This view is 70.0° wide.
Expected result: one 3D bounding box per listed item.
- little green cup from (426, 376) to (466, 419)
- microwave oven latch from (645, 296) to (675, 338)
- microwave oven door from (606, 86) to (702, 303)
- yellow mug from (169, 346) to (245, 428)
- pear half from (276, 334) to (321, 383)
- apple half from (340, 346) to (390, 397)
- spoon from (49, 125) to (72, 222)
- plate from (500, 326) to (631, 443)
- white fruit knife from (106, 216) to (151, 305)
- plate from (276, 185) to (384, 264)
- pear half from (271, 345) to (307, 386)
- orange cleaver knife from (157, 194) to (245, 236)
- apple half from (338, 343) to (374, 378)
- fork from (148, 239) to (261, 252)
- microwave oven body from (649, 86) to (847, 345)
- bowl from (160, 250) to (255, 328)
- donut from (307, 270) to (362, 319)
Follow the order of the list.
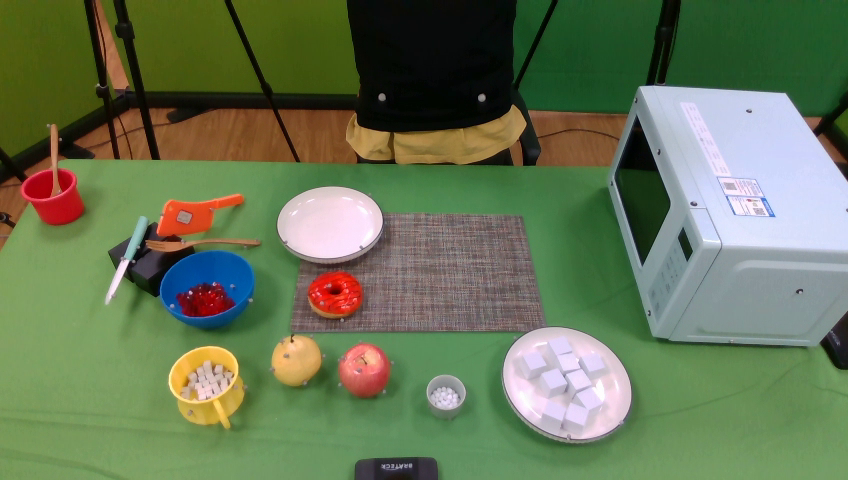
[{"bbox_3d":[0.033,0.248,0.950,0.061,0.039,0.061,2,46,-2],"label":"little green cup"},{"bbox_3d":[0.411,0.134,1.061,0.030,0.029,0.078,3,45,0],"label":"microwave oven latch"},{"bbox_3d":[0.423,-0.094,1.141,0.039,0.245,0.353,3,46,-1],"label":"microwave oven door"},{"bbox_3d":[-0.322,0.230,0.922,0.100,0.064,0.130,-24,53,-26],"label":"yellow mug"},{"bbox_3d":[-0.196,0.172,0.957,0.076,0.110,0.056,27,51,16],"label":"pear half"},{"bbox_3d":[-0.085,0.214,0.950,0.081,0.075,0.053,-29,58,-32],"label":"apple half"},{"bbox_3d":[-0.717,-0.131,1.189,0.041,0.021,0.193,-3,90,-6],"label":"spoon"},{"bbox_3d":[0.224,0.233,0.978,0.208,0.039,0.206,2,46,-2],"label":"plate"},{"bbox_3d":[-0.519,0.032,1.066,0.027,0.016,0.206,-18,45,19],"label":"white fruit knife"},{"bbox_3d":[-0.184,-0.027,1.194,0.209,0.038,0.208,2,46,-2],"label":"plate"},{"bbox_3d":[-0.216,0.200,0.943,0.070,0.088,0.031,27,49,15],"label":"pear half"},{"bbox_3d":[-0.427,-0.050,1.175,0.012,0.077,0.211,22,19,20],"label":"orange cleaver knife"},{"bbox_3d":[-0.112,0.192,0.968,0.081,0.081,0.032,-31,59,-29],"label":"apple half"},{"bbox_3d":[-0.399,0.007,1.118,0.208,0.019,0.028,-4,35,-37],"label":"fork"},{"bbox_3d":[0.567,-0.053,1.118,0.326,0.261,0.439,2,45,-1],"label":"microwave oven body"},{"bbox_3d":[-0.362,0.098,1.040,0.151,0.077,0.150,2,45,-2],"label":"bowl"},{"bbox_3d":[-0.157,0.097,1.073,0.099,0.048,0.098,4,45,-4],"label":"donut"}]
